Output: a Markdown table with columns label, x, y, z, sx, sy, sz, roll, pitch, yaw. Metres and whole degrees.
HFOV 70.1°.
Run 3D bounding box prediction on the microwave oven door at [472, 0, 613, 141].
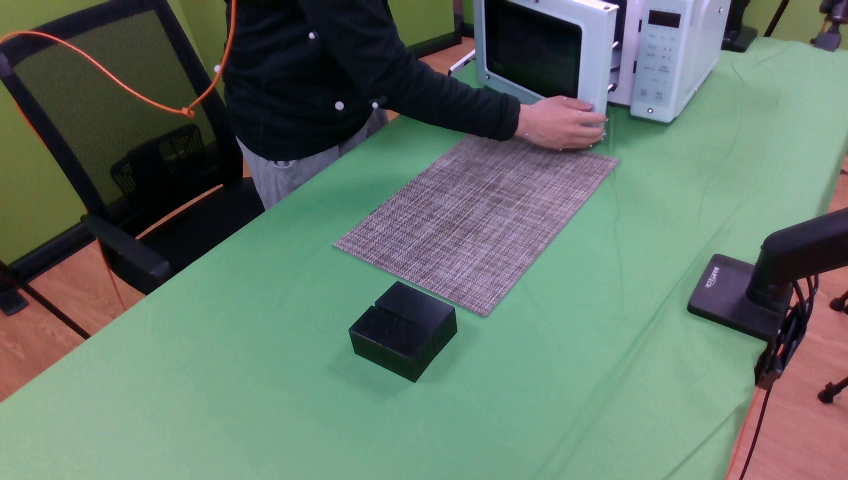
| label | x | y | z | sx | sy | sz | roll | pitch | yaw |
| --- | --- | --- | --- | --- | --- | --- | --- | --- | --- |
| microwave oven door | 0.216 | -0.366 | 1.171 | 0.039 | 0.245 | 0.352 | -28 | 45 | -23 |

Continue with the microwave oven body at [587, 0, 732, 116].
| label | x | y | z | sx | sy | sz | roll | pitch | yaw |
| --- | --- | --- | --- | --- | --- | --- | --- | --- | --- |
| microwave oven body | 0.377 | -0.462 | 1.267 | 0.438 | 0.261 | 0.327 | 21 | 49 | 30 |

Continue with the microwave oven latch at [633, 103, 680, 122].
| label | x | y | z | sx | sy | sz | roll | pitch | yaw |
| --- | --- | --- | --- | --- | --- | --- | --- | --- | --- |
| microwave oven latch | 0.443 | -0.249 | 1.157 | 0.078 | 0.029 | 0.030 | 21 | 49 | 30 |
